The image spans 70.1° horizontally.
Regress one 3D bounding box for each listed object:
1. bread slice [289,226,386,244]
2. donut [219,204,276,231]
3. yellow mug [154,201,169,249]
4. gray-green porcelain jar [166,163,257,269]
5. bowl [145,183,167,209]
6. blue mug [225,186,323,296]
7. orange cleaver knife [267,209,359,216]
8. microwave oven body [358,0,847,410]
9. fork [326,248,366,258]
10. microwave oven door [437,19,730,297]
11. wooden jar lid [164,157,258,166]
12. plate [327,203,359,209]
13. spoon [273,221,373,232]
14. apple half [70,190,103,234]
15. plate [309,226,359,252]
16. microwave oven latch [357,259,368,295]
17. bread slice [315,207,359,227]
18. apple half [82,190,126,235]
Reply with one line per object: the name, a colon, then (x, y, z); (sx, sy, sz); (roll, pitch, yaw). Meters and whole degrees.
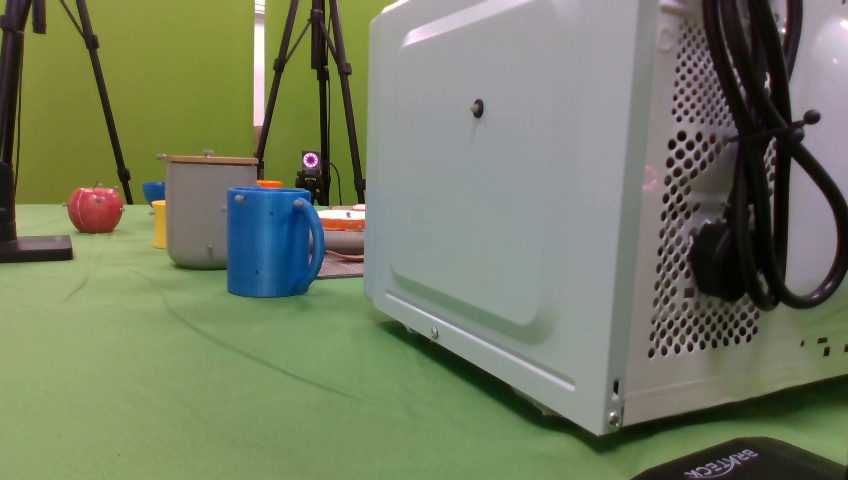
bread slice: (-0.125, -0.008, 0.938); (0.131, 0.019, 0.105); (5, 7, 31)
donut: (-0.316, -0.039, 1.083); (0.099, 0.048, 0.099); (3, 7, 0)
yellow mug: (-0.338, -0.022, 0.899); (0.130, 0.064, 0.100); (8, 9, 34)
gray-green porcelain jar: (-0.263, -0.031, 0.754); (0.106, 0.126, 0.106); (2, 7, 0)
bowl: (-0.459, -0.068, 1.175); (0.151, 0.077, 0.151); (3, 7, 0)
blue mug: (-0.148, 0.000, 0.618); (0.116, 0.106, 0.083); (7, 9, 33)
orange cleaver knife: (-0.259, -0.064, 1.423); (0.212, 0.012, 0.077); (-4, 3, -30)
microwave oven body: (0.210, -0.051, 0.471); (0.444, 0.260, 0.324); (-1, 7, -28)
fork: (-0.032, 0.015, 0.835); (0.208, 0.018, 0.028); (-3, 1, -24)
microwave oven door: (0.181, -0.076, 0.618); (0.358, 0.243, 0.039); (-2, 9, -28)
wooden jar lid: (-0.261, -0.093, 0.746); (0.108, 0.020, 0.108); (0, 9, 0)
plate: (-0.102, -0.053, 1.299); (0.209, 0.038, 0.209); (2, 8, 0)
spoon: (-0.181, -0.027, 1.108); (0.195, 0.021, 0.041); (-4, -13, -33)
apple half: (-0.552, -0.047, 1.010); (0.053, 0.074, 0.081); (-1, 9, 26)
plate: (-0.130, -0.011, 0.945); (0.208, 0.039, 0.207); (2, 7, 0)
microwave oven latch: (-0.019, 0.031, 0.529); (0.079, 0.029, 0.030); (-1, 7, -27)
bread slice: (-0.127, -0.035, 0.933); (0.134, 0.018, 0.107); (4, 11, 27)
apple half: (-0.517, -0.046, 0.994); (0.032, 0.081, 0.081); (0, 6, 26)
